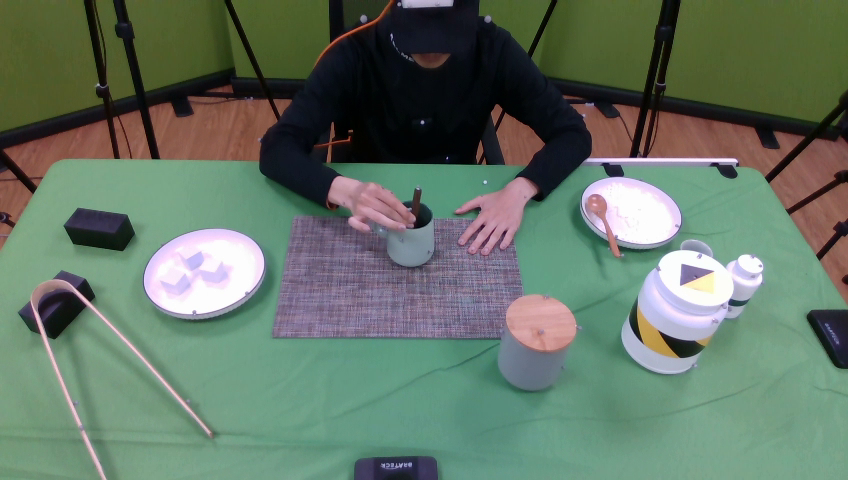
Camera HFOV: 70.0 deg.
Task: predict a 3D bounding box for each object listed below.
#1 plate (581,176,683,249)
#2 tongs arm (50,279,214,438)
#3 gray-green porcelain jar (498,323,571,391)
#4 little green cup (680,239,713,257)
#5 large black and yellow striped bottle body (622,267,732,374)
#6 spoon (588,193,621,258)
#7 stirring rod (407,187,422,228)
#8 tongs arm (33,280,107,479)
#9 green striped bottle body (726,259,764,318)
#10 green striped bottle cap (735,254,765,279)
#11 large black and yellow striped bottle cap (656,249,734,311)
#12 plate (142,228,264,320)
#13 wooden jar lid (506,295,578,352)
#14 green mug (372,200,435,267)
[{"bbox_3d":[0.430,-0.054,1.267,0.209,0.038,0.208,2,46,-2],"label":"plate"},{"bbox_3d":[-0.459,0.178,0.949,0.386,0.028,0.028,37,60,17],"label":"tongs arm"},{"bbox_3d":[0.176,0.172,0.971,0.106,0.127,0.105,2,46,-2],"label":"gray-green porcelain jar"},{"bbox_3d":[0.530,0.033,1.189,0.061,0.039,0.061,2,48,-2],"label":"little green cup"},{"bbox_3d":[0.415,0.119,0.997,0.131,0.185,0.130,2,46,-2],"label":"large black and yellow striped bottle body"},{"bbox_3d":[0.367,-0.032,1.220,0.041,0.022,0.192,1,38,-1],"label":"spoon"},{"bbox_3d":[-0.023,-0.026,1.096,0.014,0.177,0.006,8,43,-4],"label":"stirring rod"},{"bbox_3d":[-0.517,0.214,0.909,0.051,0.026,0.383,-29,63,-27],"label":"tongs arm"},{"bbox_3d":[0.563,0.081,1.089,0.063,0.120,0.063,2,46,-2],"label":"green striped bottle body"},{"bbox_3d":[0.566,0.046,1.051,0.044,0.020,0.044,0,45,0],"label":"green striped bottle cap"},{"bbox_3d":[0.419,0.061,0.938,0.115,0.019,0.114,2,47,-2],"label":"large black and yellow striped bottle cap"},{"bbox_3d":[-0.394,0.064,1.095,0.208,0.039,0.206,2,46,-2],"label":"plate"},{"bbox_3d":[0.179,0.130,0.925,0.108,0.021,0.107,2,43,-2],"label":"wooden jar lid"},{"bbox_3d":[-0.040,-0.015,1.146,0.125,0.105,0.092,17,48,13],"label":"green mug"}]
